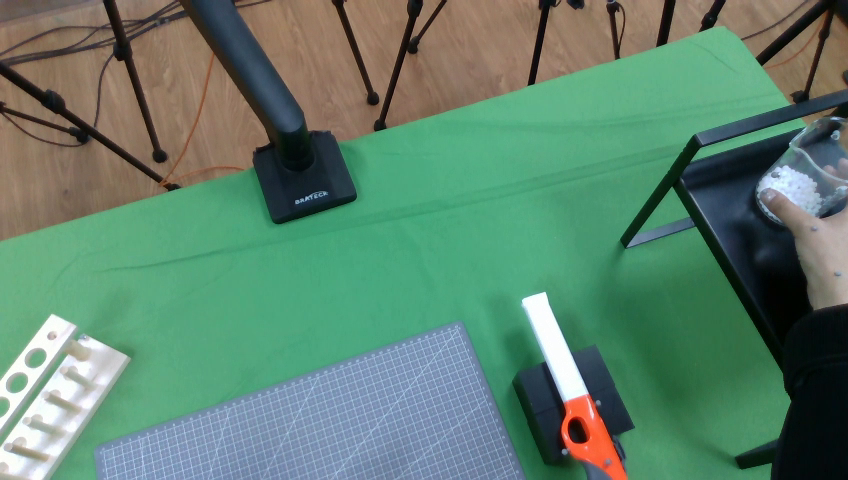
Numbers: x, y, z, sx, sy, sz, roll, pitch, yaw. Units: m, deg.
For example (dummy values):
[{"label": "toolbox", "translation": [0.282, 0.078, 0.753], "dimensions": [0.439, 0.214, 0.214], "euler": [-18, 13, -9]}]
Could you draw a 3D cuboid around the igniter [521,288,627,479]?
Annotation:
[{"label": "igniter", "translation": [0.170, 0.181, 0.669], "dimensions": [0.057, 0.025, 0.274], "euler": [-15, 64, -7]}]

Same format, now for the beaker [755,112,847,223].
[{"label": "beaker", "translation": [0.385, -0.068, 0.605], "dimensions": [0.084, 0.101, 0.073], "euler": [10, 65, 4]}]

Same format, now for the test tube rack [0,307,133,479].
[{"label": "test tube rack", "translation": [-0.433, 0.203, 0.656], "dimensions": [0.066, 0.086, 0.241], "euler": [23, 66, 10]}]

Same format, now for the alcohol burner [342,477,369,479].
[{"label": "alcohol burner", "translation": [-0.073, 0.280, 0.616], "dimensions": [0.078, 0.120, 0.077], "euler": [1, 62, -2]}]
